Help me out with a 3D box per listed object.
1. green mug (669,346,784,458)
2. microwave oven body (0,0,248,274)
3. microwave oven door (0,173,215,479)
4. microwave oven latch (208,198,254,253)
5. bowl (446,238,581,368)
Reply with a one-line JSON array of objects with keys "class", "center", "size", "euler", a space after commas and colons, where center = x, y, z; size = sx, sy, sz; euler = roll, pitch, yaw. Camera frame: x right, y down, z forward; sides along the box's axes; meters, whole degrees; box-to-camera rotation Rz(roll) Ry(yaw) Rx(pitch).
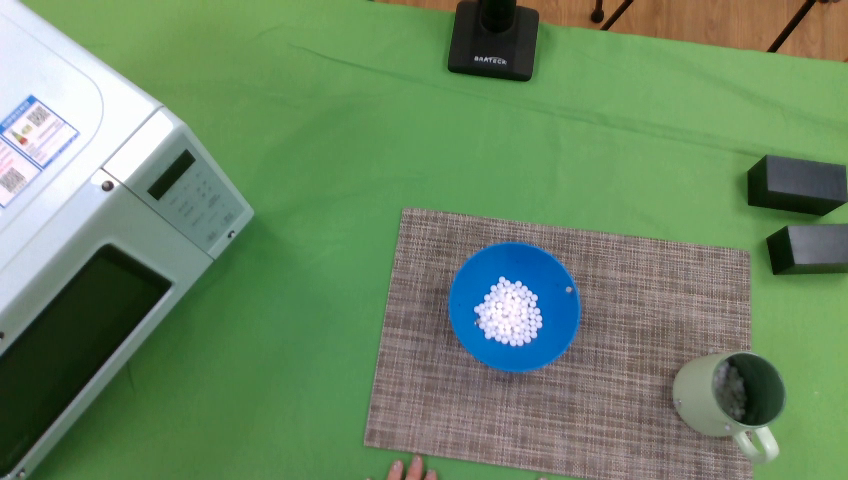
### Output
[{"class": "green mug", "center": [0.341, 0.180, 0.671], "size": [0.092, 0.105, 0.124], "euler": [-24, 74, -7]}, {"class": "microwave oven body", "center": [-0.473, 0.001, 0.648], "size": [0.325, 0.261, 0.441], "euler": [35, 77, 10]}, {"class": "microwave oven door", "center": [-0.381, 0.114, 0.608], "size": [0.039, 0.245, 0.355], "euler": [35, 76, 11]}, {"class": "microwave oven latch", "center": [-0.247, -0.023, 0.756], "size": [0.030, 0.029, 0.079], "euler": [37, 77, 10]}, {"class": "bowl", "center": [0.101, 0.081, 0.716], "size": [0.151, 0.077, 0.150], "euler": [0, 72, 1]}]
